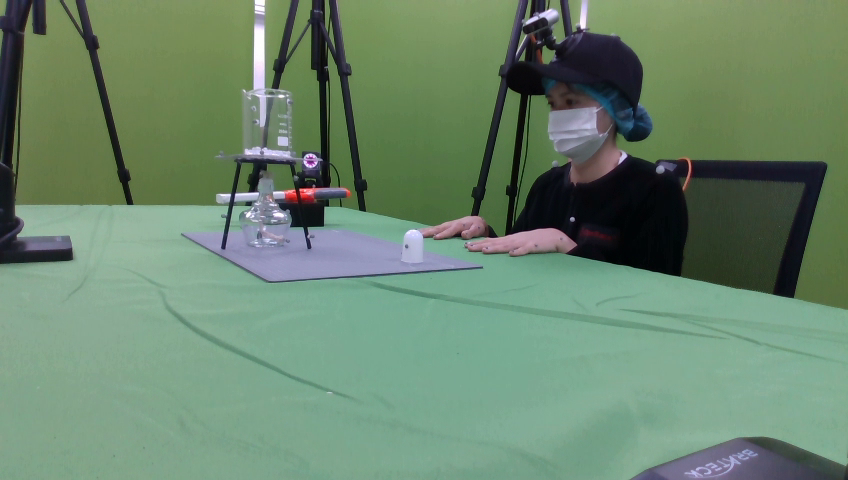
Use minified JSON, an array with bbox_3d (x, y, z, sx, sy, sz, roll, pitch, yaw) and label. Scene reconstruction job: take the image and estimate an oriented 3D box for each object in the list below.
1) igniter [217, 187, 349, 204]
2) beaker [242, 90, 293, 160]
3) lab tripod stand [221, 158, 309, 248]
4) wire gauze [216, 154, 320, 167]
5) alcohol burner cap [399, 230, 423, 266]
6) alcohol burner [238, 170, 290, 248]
[{"bbox_3d":[-0.285,-0.093,1.256,0.278,0.025,0.057,-6,12,-34],"label":"igniter"},{"bbox_3d":[-0.235,-0.169,0.900,0.074,0.100,0.084,4,7,23],"label":"beaker"},{"bbox_3d":[-0.244,-0.057,0.917,0.148,0.131,0.148,1,7,0],"label":"lab tripod stand"},{"bbox_3d":[-0.236,-0.121,0.906,0.126,0.011,0.121,0,8,-33],"label":"wire gauze"},{"bbox_3d":[-0.017,0.010,0.837,0.034,0.048,0.034,3,7,0],"label":"alcohol burner cap"},{"bbox_3d":[-0.244,-0.048,0.927,0.078,0.119,0.078,3,5,0],"label":"alcohol burner"}]
